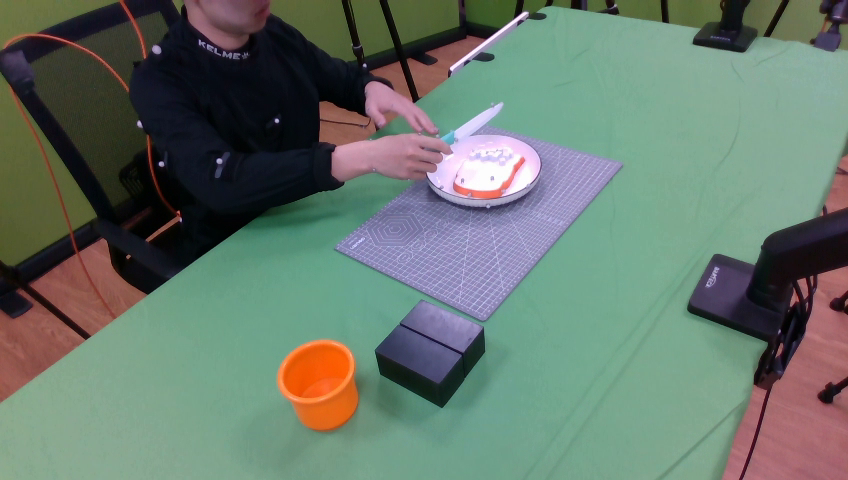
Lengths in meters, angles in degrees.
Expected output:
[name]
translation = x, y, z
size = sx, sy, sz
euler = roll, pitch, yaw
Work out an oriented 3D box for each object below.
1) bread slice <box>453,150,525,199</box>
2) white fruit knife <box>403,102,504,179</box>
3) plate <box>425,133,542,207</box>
[bread slice]
translation = 0.112, -0.118, 1.079
size = 0.104, 0.019, 0.131
euler = 11, 42, 21
[white fruit knife]
translation = 0.048, -0.172, 1.023
size = 0.207, 0.027, 0.016
euler = -34, 26, 4
[plate]
translation = 0.106, -0.121, 1.079
size = 0.209, 0.038, 0.208
euler = -4, 41, 4
